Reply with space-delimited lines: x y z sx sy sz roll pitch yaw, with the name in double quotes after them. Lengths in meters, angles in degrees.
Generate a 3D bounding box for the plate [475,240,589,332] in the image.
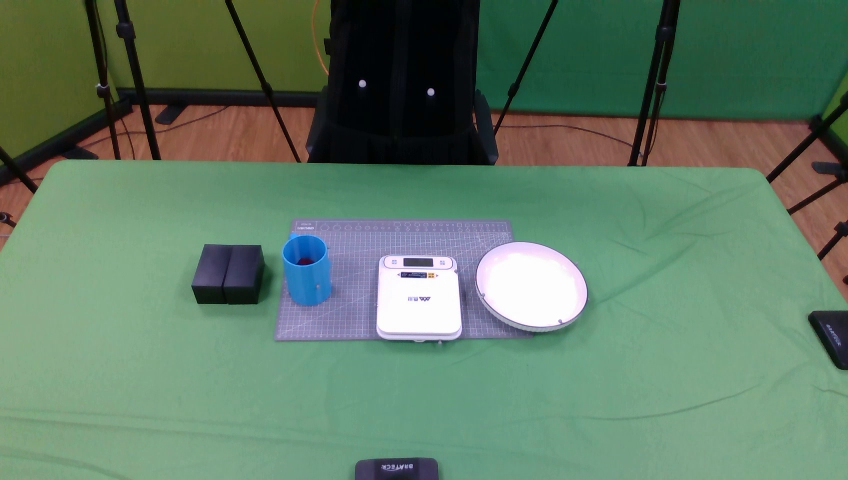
0.195 0.087 1.112 0.209 0.038 0.208 3 46 -3 "plate"

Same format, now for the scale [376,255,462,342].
-0.010 0.096 1.094 0.149 0.032 0.199 2 46 -3 "scale"

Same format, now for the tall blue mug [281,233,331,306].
-0.219 0.046 1.073 0.107 0.108 0.077 28 52 21 "tall blue mug"
